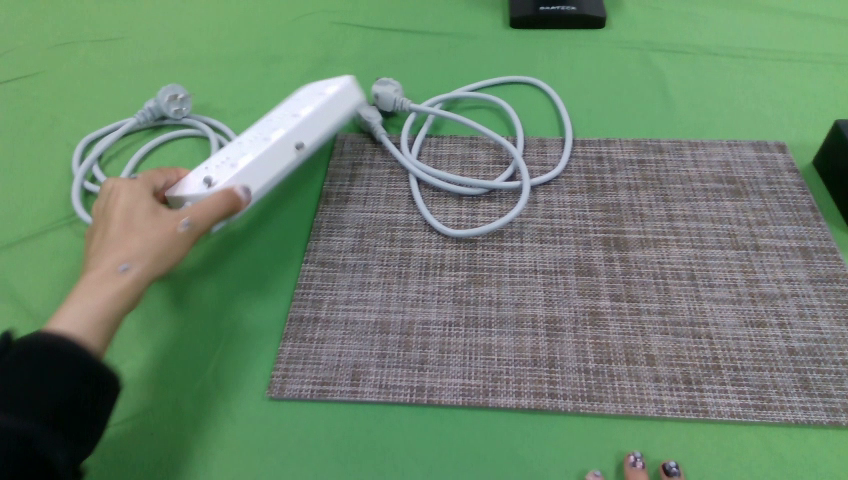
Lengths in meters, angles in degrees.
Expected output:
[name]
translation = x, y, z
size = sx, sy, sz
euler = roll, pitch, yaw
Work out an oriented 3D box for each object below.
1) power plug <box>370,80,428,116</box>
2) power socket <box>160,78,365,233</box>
[power plug]
translation = -0.025, -0.143, 0.647
size = 0.072, 0.035, 0.052
euler = 31, 30, 7
[power socket]
translation = -0.136, -0.087, 0.542
size = 0.072, 0.033, 0.226
euler = 8, 42, 32
